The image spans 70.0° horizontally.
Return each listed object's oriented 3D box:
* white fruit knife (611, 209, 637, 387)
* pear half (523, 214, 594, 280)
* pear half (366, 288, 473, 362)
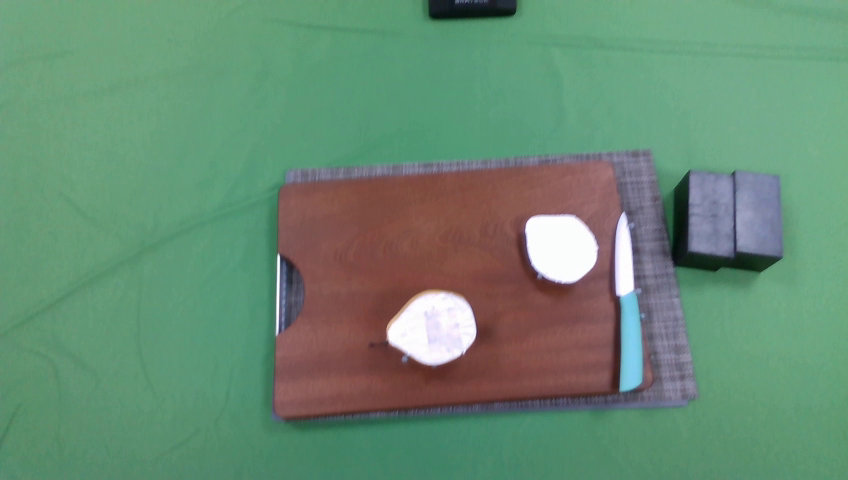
[{"bbox_3d":[0.218,0.058,0.663,0.027,0.016,0.206,10,68,-11],"label":"white fruit knife"},{"bbox_3d":[0.148,0.007,0.673,0.070,0.031,0.087,-46,62,2],"label":"pear half"},{"bbox_3d":[-0.007,0.091,0.634,0.110,0.056,0.076,-11,88,-5],"label":"pear half"}]
